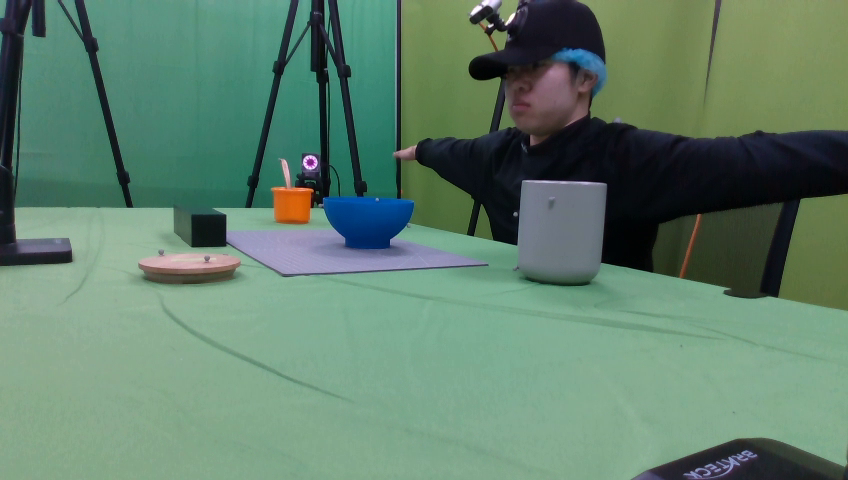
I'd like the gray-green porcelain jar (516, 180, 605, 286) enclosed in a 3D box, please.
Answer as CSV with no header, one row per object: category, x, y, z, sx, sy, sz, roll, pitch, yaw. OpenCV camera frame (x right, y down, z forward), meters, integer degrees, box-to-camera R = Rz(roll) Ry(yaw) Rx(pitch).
gray-green porcelain jar,0.172,-0.011,0.768,0.106,0.126,0.106,2,7,0

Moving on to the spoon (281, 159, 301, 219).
spoon,-0.307,-0.117,1.368,0.042,0.193,0.021,1,-37,-23

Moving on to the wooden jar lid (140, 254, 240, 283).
wooden jar lid,-0.269,0.032,0.698,0.108,0.020,0.108,2,5,0

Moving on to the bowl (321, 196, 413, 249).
bowl,-0.094,-0.029,0.991,0.151,0.077,0.151,2,7,0
